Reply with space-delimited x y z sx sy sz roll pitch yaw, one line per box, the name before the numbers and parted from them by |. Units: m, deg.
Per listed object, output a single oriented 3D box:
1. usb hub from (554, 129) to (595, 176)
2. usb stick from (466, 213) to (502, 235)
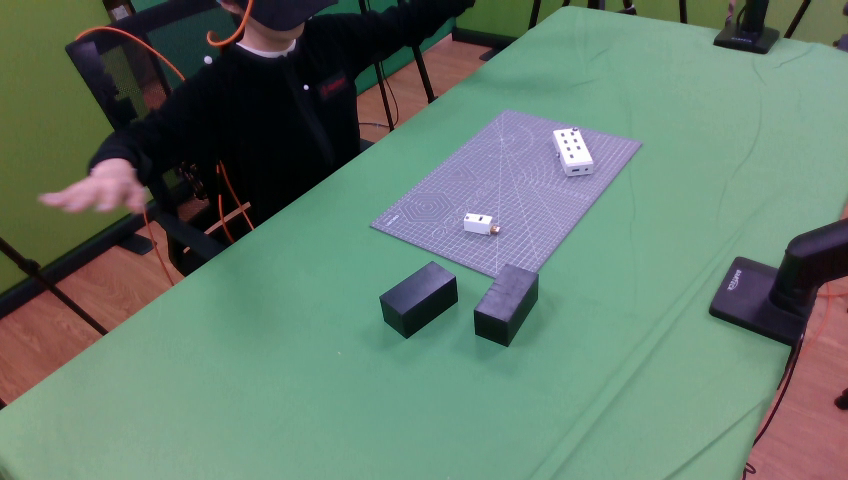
usb hub | 0.278 -0.163 1.119 0.049 0.025 0.124 -6 41 2
usb stick | 0.098 -0.024 0.983 0.059 0.027 0.021 13 41 18
